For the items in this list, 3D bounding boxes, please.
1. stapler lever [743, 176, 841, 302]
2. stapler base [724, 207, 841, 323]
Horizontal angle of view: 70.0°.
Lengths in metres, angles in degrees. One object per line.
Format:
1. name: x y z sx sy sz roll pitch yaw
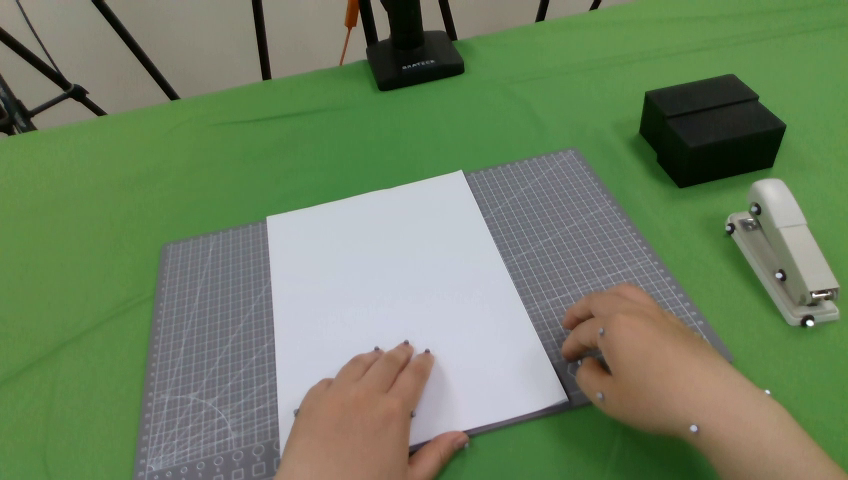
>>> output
1. stapler lever: 0.297 -0.006 0.492 0.027 0.040 0.117 -10 46 3
2. stapler base: 0.299 0.011 0.511 0.041 0.025 0.129 -10 46 2
